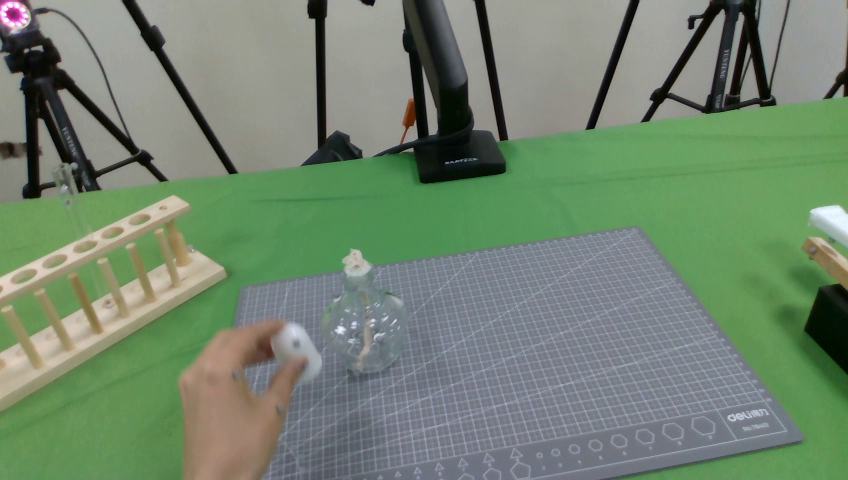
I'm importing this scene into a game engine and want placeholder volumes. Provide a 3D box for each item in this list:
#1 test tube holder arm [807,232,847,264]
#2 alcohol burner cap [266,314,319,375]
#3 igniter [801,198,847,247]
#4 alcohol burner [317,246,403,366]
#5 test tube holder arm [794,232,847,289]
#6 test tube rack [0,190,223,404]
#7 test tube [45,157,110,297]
[{"bbox_3d":[0.365,0.046,0.483,0.013,0.015,0.176,-7,35,-9],"label":"test tube holder arm"},{"bbox_3d":[-0.102,0.076,0.463,0.034,0.048,0.033,-6,43,6],"label":"alcohol burner cap"},{"bbox_3d":[0.407,0.037,0.484,0.057,0.025,0.273,-10,32,-4],"label":"igniter"},{"bbox_3d":[-0.057,0.053,0.527,0.078,0.120,0.077,-2,37,2],"label":"alcohol burner"},{"bbox_3d":[0.351,0.022,0.519,0.010,0.015,0.087,-6,35,-8],"label":"test tube holder arm"},{"bbox_3d":[-0.331,0.047,0.600,0.066,0.086,0.242,25,45,35],"label":"test tube rack"},{"bbox_3d":[-0.336,-0.008,0.592,0.017,0.151,0.017,-2,29,2],"label":"test tube"}]
